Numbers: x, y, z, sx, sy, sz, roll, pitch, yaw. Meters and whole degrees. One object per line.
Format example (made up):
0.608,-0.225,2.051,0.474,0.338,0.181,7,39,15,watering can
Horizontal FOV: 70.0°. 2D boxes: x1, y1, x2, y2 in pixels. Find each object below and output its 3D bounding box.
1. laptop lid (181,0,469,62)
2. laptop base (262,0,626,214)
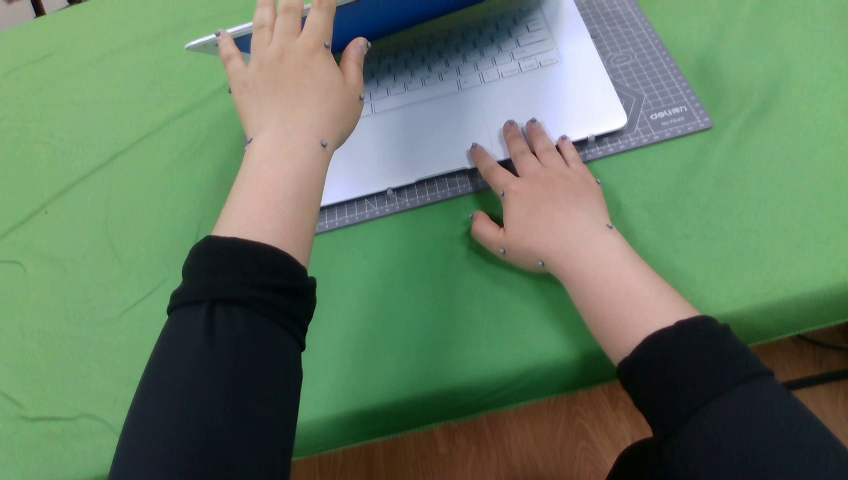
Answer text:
-0.025,-0.230,0.581,0.356,0.013,0.241,-14,12,8,laptop lid
0.001,-0.155,0.632,0.354,0.023,0.233,-14,56,6,laptop base
